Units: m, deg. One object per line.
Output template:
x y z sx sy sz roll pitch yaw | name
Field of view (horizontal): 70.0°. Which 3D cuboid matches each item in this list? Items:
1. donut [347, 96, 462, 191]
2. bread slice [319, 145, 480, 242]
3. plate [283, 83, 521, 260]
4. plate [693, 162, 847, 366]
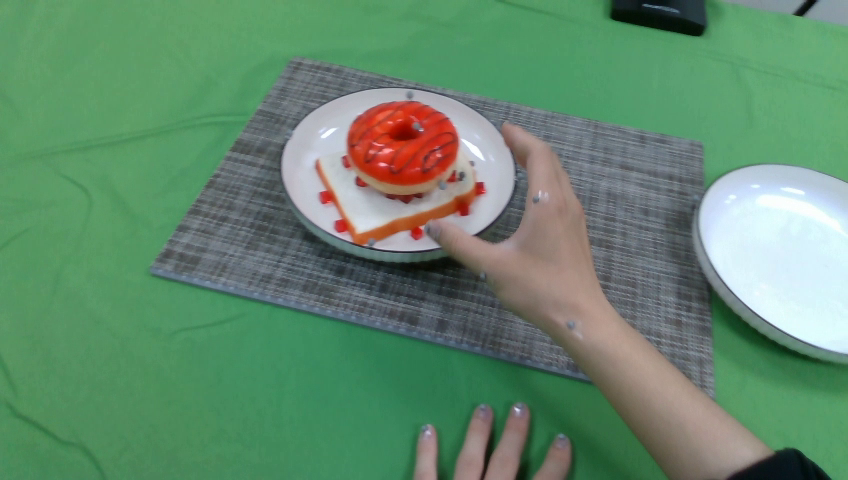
-0.016 -0.084 0.517 0.099 0.048 0.098 3 52 -3 | donut
-0.018 -0.058 0.545 0.132 0.019 0.104 -20 58 -19 | bread slice
-0.020 -0.063 0.546 0.209 0.038 0.207 3 52 -3 | plate
0.332 0.019 0.521 0.208 0.039 0.205 3 52 -3 | plate
